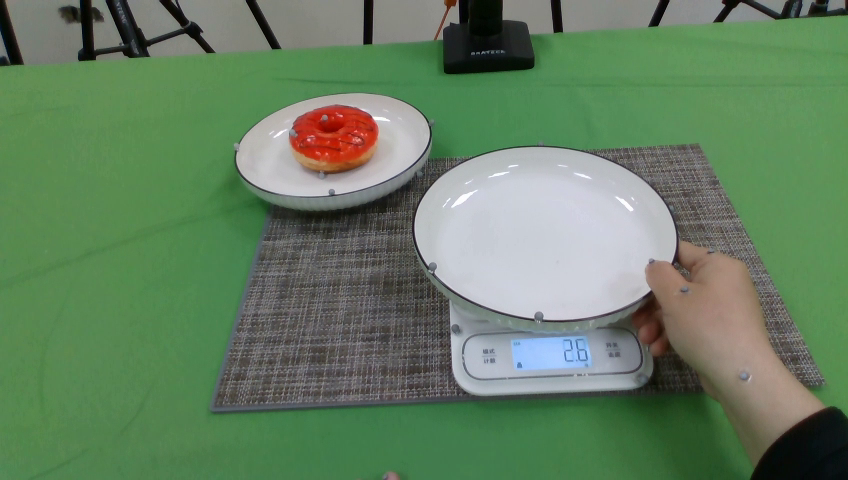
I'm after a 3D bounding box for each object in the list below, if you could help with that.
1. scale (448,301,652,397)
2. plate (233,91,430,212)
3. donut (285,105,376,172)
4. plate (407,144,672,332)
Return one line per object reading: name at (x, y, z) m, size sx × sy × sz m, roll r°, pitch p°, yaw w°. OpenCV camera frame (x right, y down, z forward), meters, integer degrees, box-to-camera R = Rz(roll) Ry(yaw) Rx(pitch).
scale at (0.094, 0.035, 0.504) m, size 0.148 × 0.032 × 0.199 m, roll -3°, pitch 44°, yaw 3°
plate at (-0.097, -0.094, 0.653) m, size 0.209 × 0.038 × 0.207 m, roll -3°, pitch 42°, yaw 3°
donut at (-0.100, -0.109, 0.653) m, size 0.099 × 0.049 × 0.098 m, roll -2°, pitch 42°, yaw 2°
plate at (0.091, -0.004, 0.496) m, size 0.207 × 0.039 × 0.205 m, roll -2°, pitch 44°, yaw 2°
